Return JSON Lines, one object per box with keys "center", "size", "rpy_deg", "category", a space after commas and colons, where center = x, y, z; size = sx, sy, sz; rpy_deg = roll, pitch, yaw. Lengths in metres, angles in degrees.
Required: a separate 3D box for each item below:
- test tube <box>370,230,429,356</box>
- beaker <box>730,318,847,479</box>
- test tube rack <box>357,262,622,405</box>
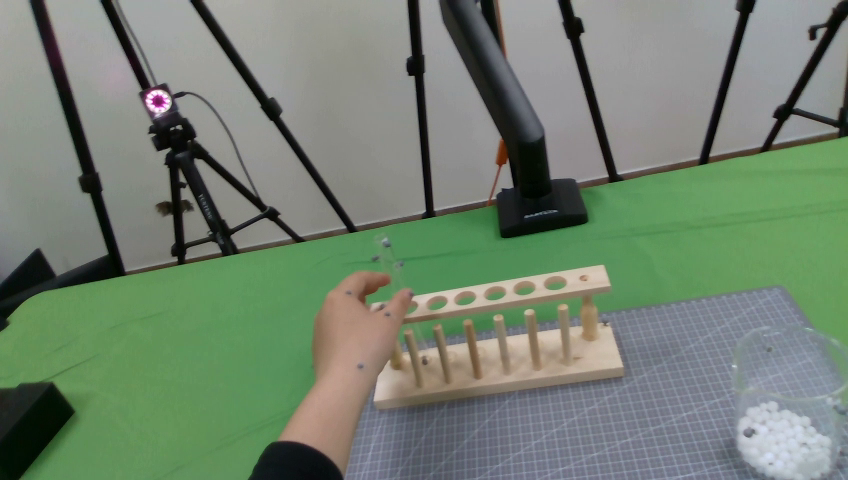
{"center": [-0.022, 0.056, 0.596], "size": [0.017, 0.151, 0.017], "rpy_deg": [-14, 29, 8], "category": "test tube"}
{"center": [0.262, 0.120, 0.442], "size": [0.084, 0.101, 0.073], "rpy_deg": [-20, 31, -5], "category": "beaker"}
{"center": [0.061, 0.093, 0.594], "size": [0.242, 0.086, 0.066], "rpy_deg": [-10, 31, 10], "category": "test tube rack"}
